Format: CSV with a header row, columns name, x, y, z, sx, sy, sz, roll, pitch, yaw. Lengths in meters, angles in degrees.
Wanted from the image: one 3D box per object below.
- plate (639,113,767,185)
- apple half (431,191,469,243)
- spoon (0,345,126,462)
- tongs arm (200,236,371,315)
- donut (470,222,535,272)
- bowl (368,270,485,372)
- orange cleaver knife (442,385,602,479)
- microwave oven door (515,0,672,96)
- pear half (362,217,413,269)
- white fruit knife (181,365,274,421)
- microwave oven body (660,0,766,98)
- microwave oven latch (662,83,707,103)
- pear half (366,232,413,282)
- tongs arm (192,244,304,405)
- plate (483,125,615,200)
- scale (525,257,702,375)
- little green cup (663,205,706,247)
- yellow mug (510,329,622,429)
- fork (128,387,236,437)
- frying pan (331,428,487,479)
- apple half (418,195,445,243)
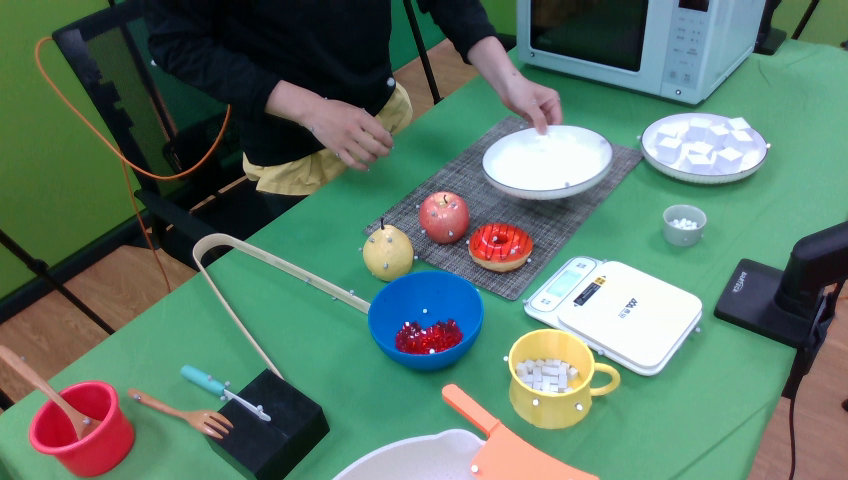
name,x,y,z,sx,sy,sz,roll,pitch,yaw
plate,0.489,-0.157,1.074,0.207,0.039,0.206,-4,40,4
apple half,0.045,-0.038,0.967,0.053,0.075,0.080,-14,37,-11
spoon,-0.434,0.192,0.720,0.194,0.021,0.042,47,53,-7
tongs arm,-0.209,0.062,0.924,0.381,0.027,0.051,23,54,32
donut,0.119,0.009,0.923,0.099,0.048,0.098,-4,38,3
bowl,0.007,0.119,0.791,0.151,0.077,0.150,-5,39,4
orange cleaver knife,0.086,0.219,0.612,0.209,0.012,0.077,28,48,35
microwave oven door,0.343,-0.455,1.259,0.353,0.245,0.039,26,51,33
pear half,-0.059,0.002,0.913,0.076,0.110,0.055,-14,40,-13
white fruit knife,-0.245,0.187,0.747,0.205,0.027,0.016,9,41,41
microwave oven body,0.472,-0.513,1.317,0.438,0.261,0.327,26,51,34
microwave oven latch,0.517,-0.296,1.204,0.078,0.029,0.030,27,52,35
pear half,-0.048,0.031,0.893,0.071,0.088,0.031,-16,40,-13
tongs arm,-0.268,0.111,0.884,0.028,0.028,0.384,-36,47,-17
plate,0.199,-0.122,0.975,0.209,0.038,0.208,-7,37,6
scale,0.254,0.091,0.821,0.199,0.032,0.149,28,51,35
little green cup,0.396,-0.020,0.926,0.061,0.039,0.061,-4,40,4
yellow mug,0.168,0.164,0.721,0.130,0.064,0.099,0,40,8
fork,-0.305,0.207,0.744,0.206,0.019,0.028,3,41,36
frying pan,-0.089,0.306,0.564,0.487,0.103,0.306,9,41,7
apple half,0.009,-0.028,0.959,0.033,0.081,0.080,-14,41,-11
